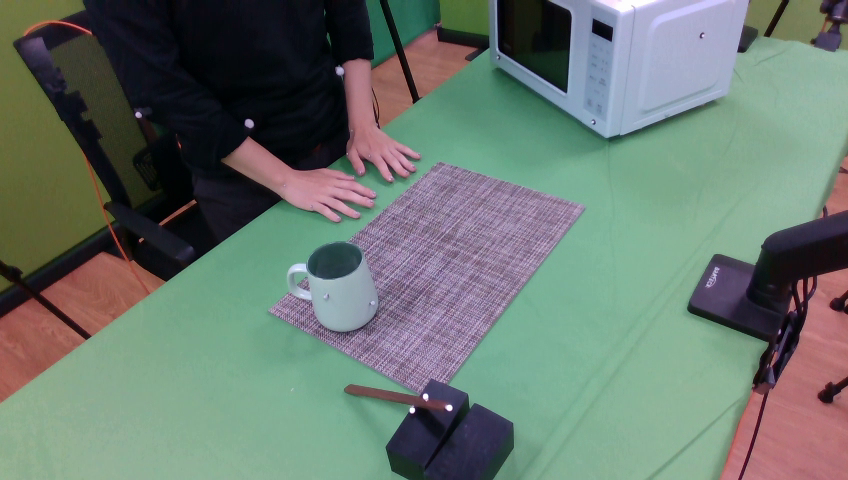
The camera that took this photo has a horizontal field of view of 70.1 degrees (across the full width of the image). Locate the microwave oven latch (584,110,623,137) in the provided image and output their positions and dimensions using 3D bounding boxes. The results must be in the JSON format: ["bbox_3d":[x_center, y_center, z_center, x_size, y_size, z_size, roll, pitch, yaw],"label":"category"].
[{"bbox_3d":[0.337,-0.222,1.142,0.030,0.029,0.078,-21,42,-14],"label":"microwave oven latch"}]

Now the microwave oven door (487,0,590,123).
[{"bbox_3d":[0.232,-0.420,1.231,0.039,0.245,0.352,-22,43,-16],"label":"microwave oven door"}]

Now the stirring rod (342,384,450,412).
[{"bbox_3d":[-0.038,0.186,0.714,0.175,0.006,0.014,-3,22,43],"label":"stirring rod"}]

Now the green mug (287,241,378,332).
[{"bbox_3d":[-0.131,0.065,0.843,0.125,0.105,0.092,3,42,12],"label":"green mug"}]

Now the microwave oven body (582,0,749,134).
[{"bbox_3d":[0.382,-0.444,1.246,0.327,0.261,0.437,-22,42,-16],"label":"microwave oven body"}]
